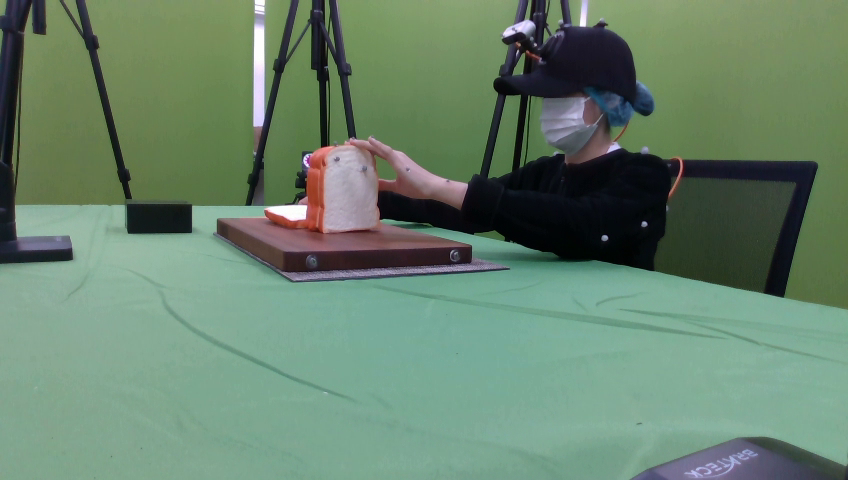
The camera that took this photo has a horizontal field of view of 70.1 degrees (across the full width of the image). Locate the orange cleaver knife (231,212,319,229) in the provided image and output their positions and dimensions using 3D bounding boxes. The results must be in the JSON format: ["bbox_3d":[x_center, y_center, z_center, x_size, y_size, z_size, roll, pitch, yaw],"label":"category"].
[{"bbox_3d":[-0.275,-0.038,1.197,0.212,0.012,0.077,-5,19,-25],"label":"orange cleaver knife"}]

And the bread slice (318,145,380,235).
[{"bbox_3d":[-0.117,-0.076,0.921,0.107,0.134,0.018,-10,12,-42],"label":"bread slice"}]
